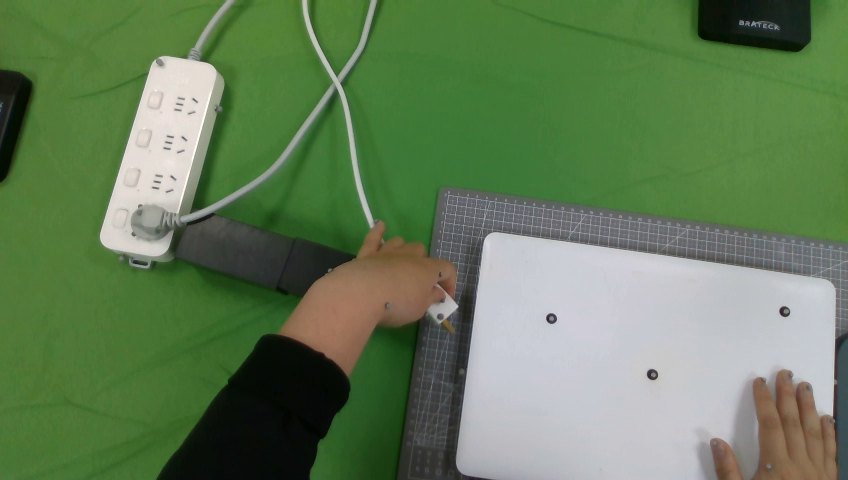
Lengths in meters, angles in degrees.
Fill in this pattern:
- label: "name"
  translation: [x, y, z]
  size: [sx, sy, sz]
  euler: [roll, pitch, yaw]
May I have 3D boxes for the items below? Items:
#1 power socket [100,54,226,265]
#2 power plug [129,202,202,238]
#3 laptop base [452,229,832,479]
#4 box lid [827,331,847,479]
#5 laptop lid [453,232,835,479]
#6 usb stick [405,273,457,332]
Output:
- label: "power socket"
  translation: [-0.263, -0.087, 0.617]
  size: [0.072, 0.033, 0.226]
  euler: [11, 78, 0]
- label: "power plug"
  translation: [-0.248, -0.012, 0.582]
  size: [0.072, 0.053, 0.035]
  euler: [24, 77, 2]
- label: "laptop base"
  translation: [0.215, 0.127, 0.592]
  size: [0.354, 0.023, 0.235]
  euler: [8, 82, 0]
- label: "box lid"
  translation: [0.510, 0.278, 0.572]
  size: [0.263, 0.015, 0.370]
  euler: [8, 79, -1]
- label: "laptop lid"
  translation: [0.215, 0.127, 0.581]
  size: [0.357, 0.013, 0.241]
  euler: [10, 81, 1]
- label: "usb stick"
  translation: [0.012, 0.060, 0.568]
  size: [0.059, 0.021, 0.027]
  euler: [43, 74, 13]
